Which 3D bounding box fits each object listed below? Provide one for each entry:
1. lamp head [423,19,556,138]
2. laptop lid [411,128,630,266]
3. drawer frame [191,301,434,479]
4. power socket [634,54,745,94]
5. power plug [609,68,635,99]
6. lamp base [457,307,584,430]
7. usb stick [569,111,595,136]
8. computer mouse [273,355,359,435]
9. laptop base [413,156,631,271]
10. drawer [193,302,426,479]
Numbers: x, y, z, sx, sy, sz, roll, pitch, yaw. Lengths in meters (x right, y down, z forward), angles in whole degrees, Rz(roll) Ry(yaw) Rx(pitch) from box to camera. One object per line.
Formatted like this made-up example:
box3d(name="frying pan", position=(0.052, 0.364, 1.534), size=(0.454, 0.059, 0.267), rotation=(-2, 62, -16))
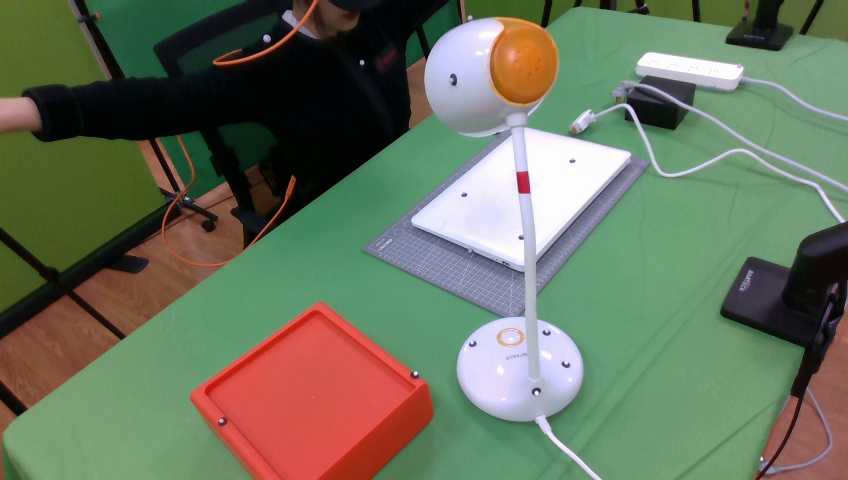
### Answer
box3d(name="lamp head", position=(0.069, -0.151, 0.563), size=(0.113, 0.113, 0.122), rotation=(-21, 18, -13))
box3d(name="laptop lid", position=(0.172, -0.093, 1.049), size=(0.239, 0.013, 0.358), rotation=(23, 50, 36))
box3d(name="drawer frame", position=(-0.133, 0.197, 0.731), size=(0.211, 0.083, 0.202), rotation=(29, 52, 36))
box3d(name="power socket", position=(0.563, -0.358, 1.295), size=(0.225, 0.033, 0.072), rotation=(21, 49, 31))
box3d(name="power plug", position=(0.405, -0.322, 1.234), size=(0.035, 0.072, 0.052), rotation=(5, 34, -34))
box3d(name="lamp base", position=(0.115, 0.108, 0.713), size=(0.161, 0.181, 0.178), rotation=(-16, 43, -8))
box3d(name="usb stick", position=(0.309, -0.227, 1.189), size=(0.059, 0.021, 0.027), rotation=(-44, 13, -19))
box3d(name="computer mouse", position=(-0.138, 0.191, 0.762), size=(0.063, 0.041, 0.116), rotation=(-38, 50, -27))
box3d(name="laptop base", position=(0.176, -0.084, 1.055), size=(0.233, 0.023, 0.355), rotation=(21, 48, 36))
box3d(name="drawer", position=(-0.136, 0.197, 0.733), size=(0.195, 0.073, 0.210), rotation=(-36, 47, -29))
